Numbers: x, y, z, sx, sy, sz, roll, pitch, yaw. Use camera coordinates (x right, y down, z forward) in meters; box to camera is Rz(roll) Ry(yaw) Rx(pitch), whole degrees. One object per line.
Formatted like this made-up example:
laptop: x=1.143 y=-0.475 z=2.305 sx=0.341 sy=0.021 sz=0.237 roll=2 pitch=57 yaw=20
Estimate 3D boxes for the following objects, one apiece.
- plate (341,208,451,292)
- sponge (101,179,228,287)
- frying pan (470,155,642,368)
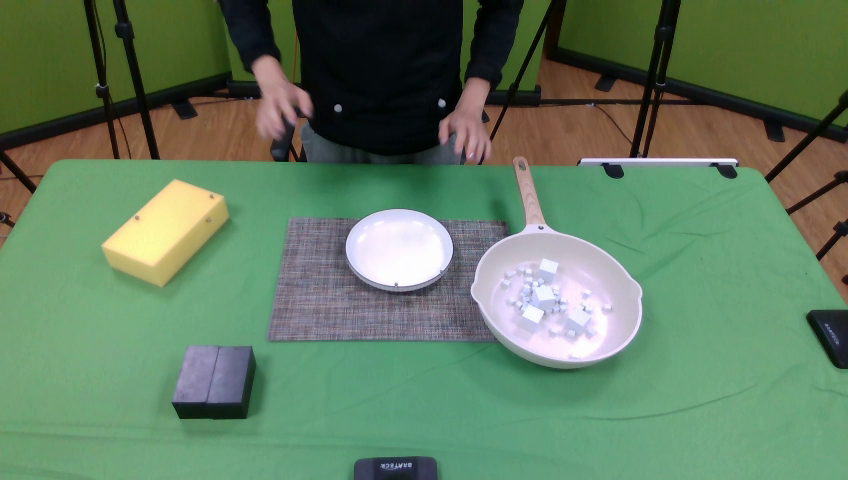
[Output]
plate: x=-0.053 y=0.022 z=1.156 sx=0.208 sy=0.039 sz=0.206 roll=2 pitch=46 yaw=-2
sponge: x=-0.486 y=-0.018 z=1.151 sx=0.118 sy=0.061 sz=0.206 roll=19 pitch=47 yaw=12
frying pan: x=0.222 y=0.022 z=1.134 sx=0.307 sy=0.103 sz=0.484 roll=0 pitch=55 yaw=-7
